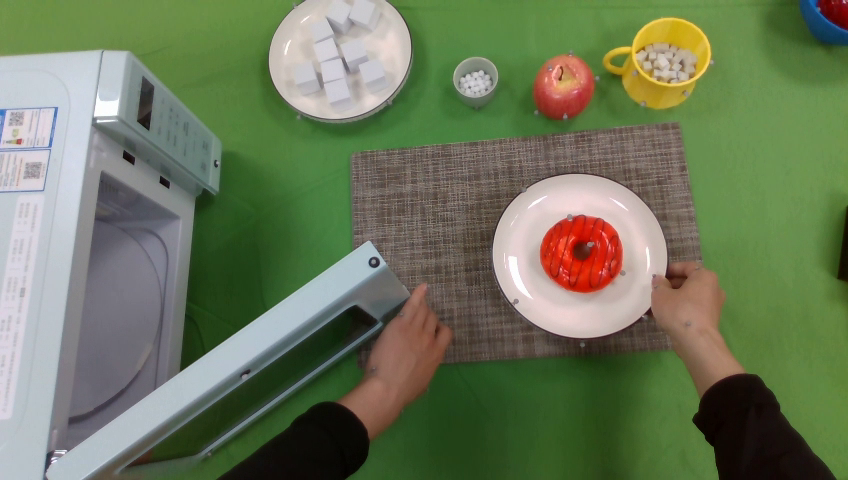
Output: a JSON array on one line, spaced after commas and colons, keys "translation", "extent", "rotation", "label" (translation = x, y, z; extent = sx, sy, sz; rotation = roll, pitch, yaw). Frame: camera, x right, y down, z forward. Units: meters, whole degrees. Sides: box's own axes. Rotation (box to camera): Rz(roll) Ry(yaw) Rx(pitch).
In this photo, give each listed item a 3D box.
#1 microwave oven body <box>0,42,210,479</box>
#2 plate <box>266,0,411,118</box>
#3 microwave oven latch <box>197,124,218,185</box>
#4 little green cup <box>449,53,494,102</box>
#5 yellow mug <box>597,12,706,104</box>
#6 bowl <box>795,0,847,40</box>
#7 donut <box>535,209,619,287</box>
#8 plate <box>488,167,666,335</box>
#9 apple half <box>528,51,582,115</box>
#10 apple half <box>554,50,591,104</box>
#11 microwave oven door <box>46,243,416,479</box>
[{"translation": [-0.458, 0.036, 0.712], "extent": [0.326, 0.261, 0.439], "rotation": [-2, 77, 5], "label": "microwave oven body"}, {"translation": [-0.120, -0.267, 0.871], "extent": [0.207, 0.039, 0.206], "rotation": [-1, 76, 5], "label": "plate"}, {"translation": [-0.303, -0.117, 0.833], "extent": [0.030, 0.029, 0.079], "rotation": [0, 77, 5], "label": "microwave oven latch"}, {"translation": [0.067, -0.224, 0.843], "extent": [0.061, 0.039, 0.061], "rotation": [-1, 76, 6], "label": "little green cup"}, {"translation": [0.299, -0.243, 0.811], "extent": [0.130, 0.064, 0.099], "rotation": [6, 77, 8], "label": "yellow mug"}, {"translation": [0.556, -0.321, 0.798], "extent": [0.151, 0.077, 0.150], "rotation": [-1, 77, 6], "label": "bowl"}, {"translation": [0.184, 0.010, 0.728], "extent": [0.099, 0.048, 0.098], "rotation": [-1, 76, 6], "label": "donut"}, {"translation": [0.183, 0.013, 0.739], "extent": [0.209, 0.038, 0.208], "rotation": [-2, 75, 7], "label": "plate"}, {"translation": [0.168, -0.202, 0.810], "extent": [0.053, 0.075, 0.080], "rotation": [-31, 79, 2], "label": "apple half"}, {"translation": [0.202, -0.222, 0.810], "extent": [0.033, 0.082, 0.081], "rotation": [-32, 75, 2], "label": "apple half"}, {"translation": [-0.175, 0.138, 0.656], "extent": [0.356, 0.245, 0.039], "rotation": [-36, 75, -4], "label": "microwave oven door"}]
